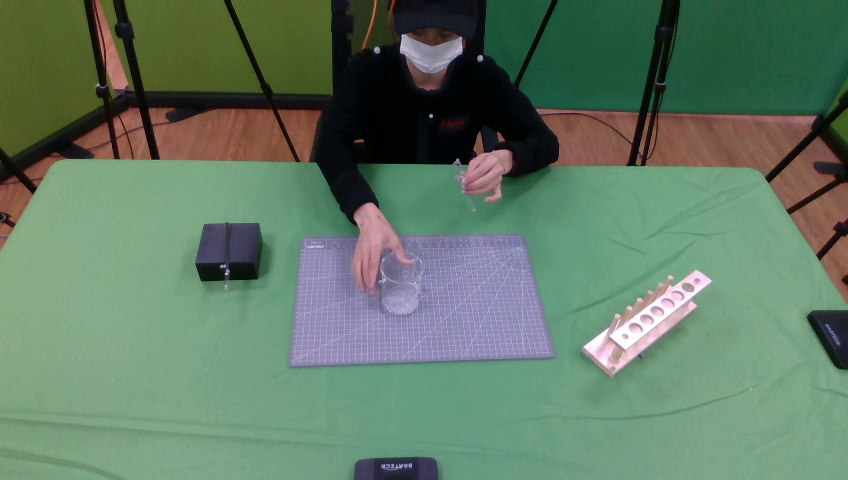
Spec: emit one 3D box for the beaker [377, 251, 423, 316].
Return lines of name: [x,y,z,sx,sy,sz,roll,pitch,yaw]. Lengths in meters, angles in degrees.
beaker: [-0.040,0.081,1.060,0.074,0.101,0.083,-33,57,-30]

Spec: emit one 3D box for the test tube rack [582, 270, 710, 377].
test tube rack: [0.389,0.132,1.057,0.242,0.085,0.066,-28,54,-28]

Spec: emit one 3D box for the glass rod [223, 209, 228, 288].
glass rod: [-0.361,0.010,1.098,0.008,0.008,0.198,-7,47,-12]

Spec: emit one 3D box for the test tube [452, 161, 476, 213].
test tube: [0.077,-0.097,1.142,0.017,0.151,0.017,-8,56,13]
